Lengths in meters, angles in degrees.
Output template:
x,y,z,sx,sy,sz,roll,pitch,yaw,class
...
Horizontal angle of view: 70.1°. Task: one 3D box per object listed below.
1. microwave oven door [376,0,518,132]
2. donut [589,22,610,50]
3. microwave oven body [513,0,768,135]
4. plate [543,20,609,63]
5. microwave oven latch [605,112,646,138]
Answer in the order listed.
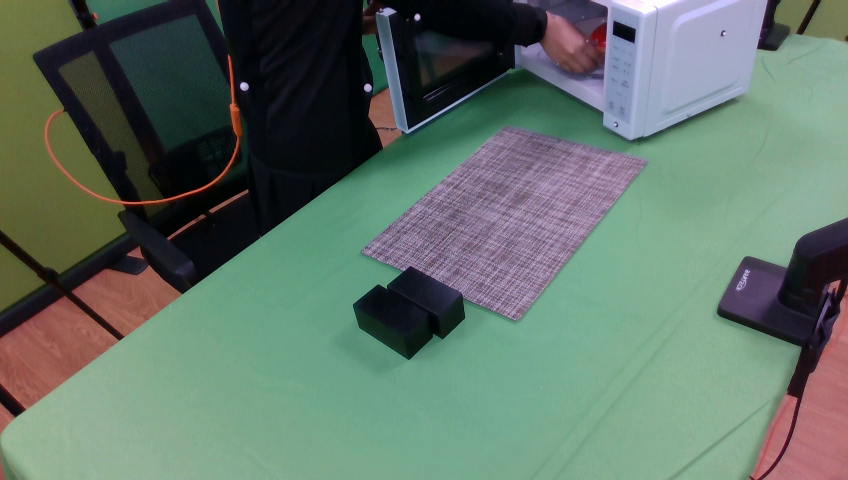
x,y,z,sx,sy,sz,roll,pitch,yaw,class
0.063,-0.411,1.258,0.357,0.245,0.039,-36,47,-28,microwave oven door
0.402,-0.429,1.292,0.099,0.048,0.098,4,47,-3,donut
0.411,-0.441,1.235,0.327,0.261,0.437,-25,42,-16,microwave oven body
0.359,-0.424,1.296,0.209,0.038,0.208,-2,36,2,plate
0.375,-0.217,1.130,0.030,0.029,0.078,-25,42,-16,microwave oven latch
